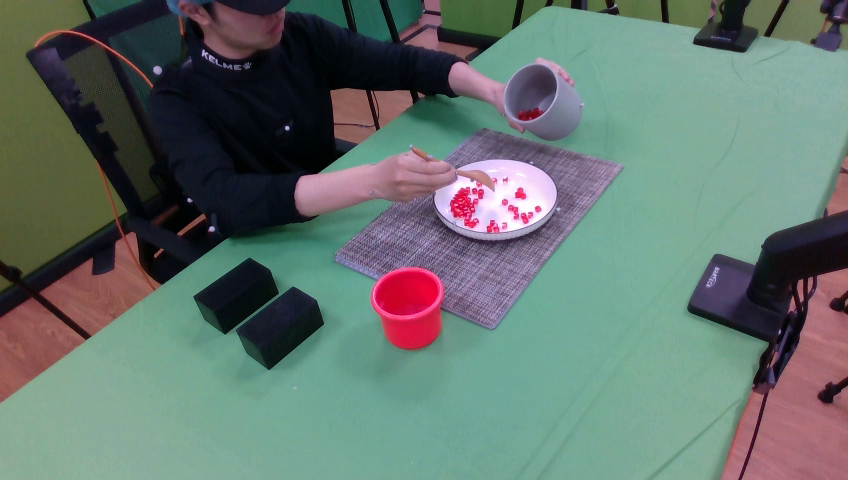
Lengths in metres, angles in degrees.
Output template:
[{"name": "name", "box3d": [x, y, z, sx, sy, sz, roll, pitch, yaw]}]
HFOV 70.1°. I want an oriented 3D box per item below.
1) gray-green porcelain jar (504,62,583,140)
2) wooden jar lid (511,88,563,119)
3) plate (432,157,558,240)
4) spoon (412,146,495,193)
[{"name": "gray-green porcelain jar", "box3d": [0.215, -0.240, 1.070, 0.105, 0.106, 0.127, 29, 8, 35]}, {"name": "wooden jar lid", "box3d": [0.237, -0.286, 1.272, 0.108, 0.021, 0.108, -5, 42, 5]}, {"name": "plate", "box3d": [0.118, -0.066, 1.013, 0.207, 0.039, 0.206, -4, 41, 4]}, {"name": "spoon", "box3d": [0.050, -0.108, 0.936, 0.195, 0.021, 0.041, 14, 40, -43]}]
